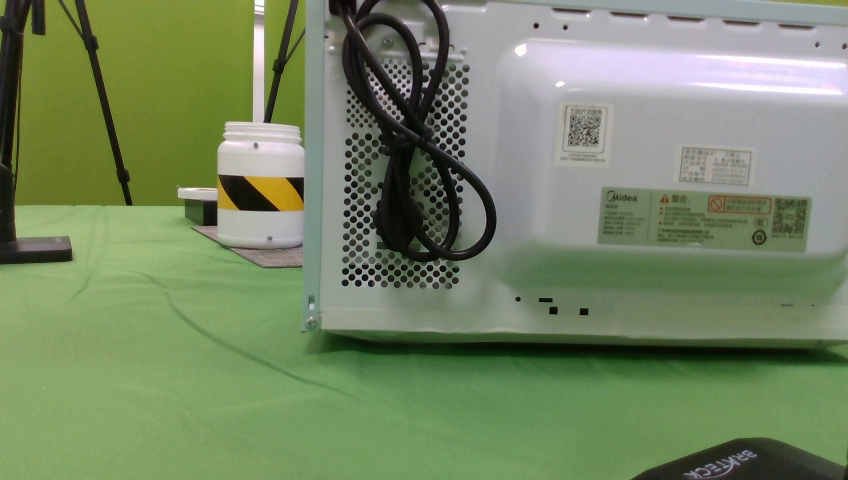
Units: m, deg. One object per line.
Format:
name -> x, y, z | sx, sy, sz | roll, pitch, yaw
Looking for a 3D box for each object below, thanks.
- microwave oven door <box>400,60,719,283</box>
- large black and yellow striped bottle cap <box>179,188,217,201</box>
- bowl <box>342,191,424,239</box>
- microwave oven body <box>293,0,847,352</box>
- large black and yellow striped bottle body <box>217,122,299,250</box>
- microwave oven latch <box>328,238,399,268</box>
microwave oven door -> 0.154, -0.079, 0.710 | 0.356, 0.243, 0.039 | 3, 8, -1
large black and yellow striped bottle cap -> -0.434, -0.093, 1.226 | 0.115, 0.019, 0.115 | 3, 9, 0
bowl -> -0.077, -0.045, 1.106 | 0.151, 0.077, 0.151 | 3, 9, 0
microwave oven body -> 0.122, -0.055, 0.550 | 0.442, 0.260, 0.325 | 3, 7, -5
large black and yellow striped bottle body -> -0.250, -0.084, 0.931 | 0.131, 0.184, 0.130 | 2, 7, 0
microwave oven latch -> -0.069, 0.015, 0.694 | 0.079, 0.029, 0.030 | 3, 7, -4
